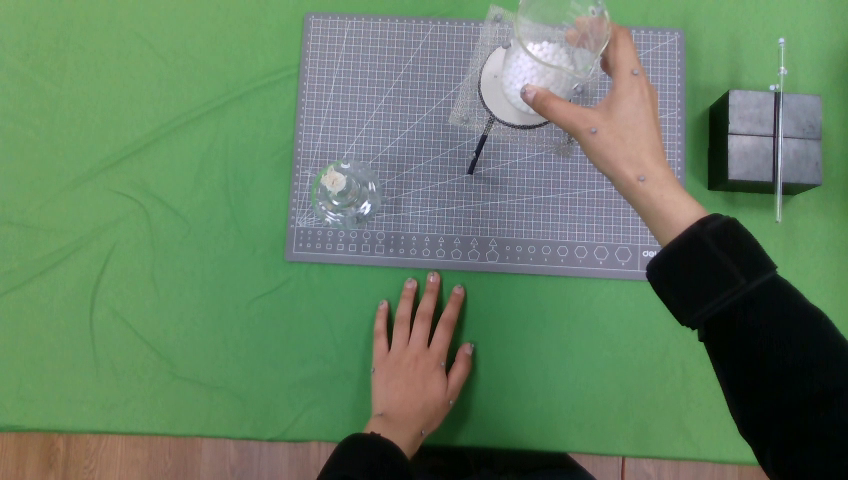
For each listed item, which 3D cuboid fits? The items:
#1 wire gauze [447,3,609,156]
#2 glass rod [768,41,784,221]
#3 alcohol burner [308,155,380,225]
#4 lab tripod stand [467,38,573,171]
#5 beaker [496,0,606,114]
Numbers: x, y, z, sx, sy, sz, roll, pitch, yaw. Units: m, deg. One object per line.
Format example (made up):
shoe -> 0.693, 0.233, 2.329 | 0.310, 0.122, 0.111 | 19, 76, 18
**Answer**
wire gauze -> 0.099, -0.152, 0.571 | 0.121, 0.011, 0.125 | 20, 83, 4
glass rod -> 0.377, -0.118, 0.648 | 0.008, 0.008, 0.199 | 7, 83, 2
alcohol burner -> -0.087, -0.056, 0.638 | 0.078, 0.119, 0.077 | 0, 84, 1
lab tripod stand -> 0.095, -0.144, 0.638 | 0.148, 0.132, 0.148 | 0, 82, 3
beaker -> 0.102, -0.153, 0.505 | 0.074, 0.100, 0.083 | -25, 81, -6
